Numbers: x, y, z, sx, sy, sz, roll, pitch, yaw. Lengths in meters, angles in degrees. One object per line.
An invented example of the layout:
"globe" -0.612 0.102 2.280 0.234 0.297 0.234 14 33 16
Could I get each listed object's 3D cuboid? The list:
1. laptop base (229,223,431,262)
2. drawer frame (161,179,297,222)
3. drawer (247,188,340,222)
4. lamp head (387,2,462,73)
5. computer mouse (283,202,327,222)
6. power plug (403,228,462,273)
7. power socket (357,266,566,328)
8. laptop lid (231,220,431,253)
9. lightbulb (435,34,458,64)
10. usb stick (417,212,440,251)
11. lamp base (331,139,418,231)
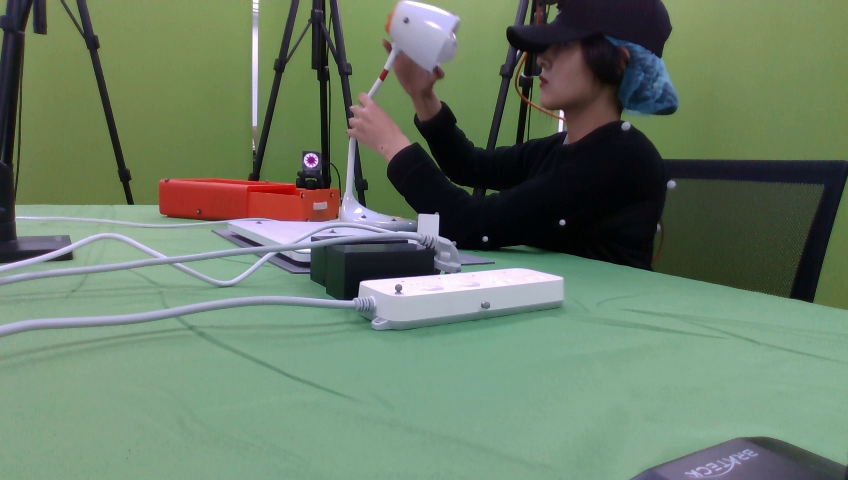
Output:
"laptop base" -0.145 0.002 0.943 0.237 0.023 0.352 2 6 -32
"drawer frame" -0.421 -0.089 1.329 0.213 0.082 0.202 4 8 16
"drawer" -0.313 -0.078 1.301 0.211 0.073 0.195 4 8 15
"lamp head" -0.008 -0.385 1.132 0.123 0.112 0.112 25 8 1
"computer mouse" -0.252 -0.061 1.293 0.063 0.041 0.117 3 4 9
"power plug" 0.006 0.016 0.647 0.073 0.052 0.035 17 12 -6
"power socket" 0.042 0.049 0.573 0.228 0.032 0.072 -3 8 -34
"laptop lid" -0.142 -0.009 0.942 0.243 0.013 0.355 1 7 -31
"lightbulb" 0.011 -0.368 1.124 0.108 0.059 0.059 23 8 0
"usb stick" 0.005 -0.003 0.721 0.027 0.059 0.021 0 -3 -3
"lamp base" -0.098 -0.111 1.206 0.179 0.180 0.160 -1 6 -6
